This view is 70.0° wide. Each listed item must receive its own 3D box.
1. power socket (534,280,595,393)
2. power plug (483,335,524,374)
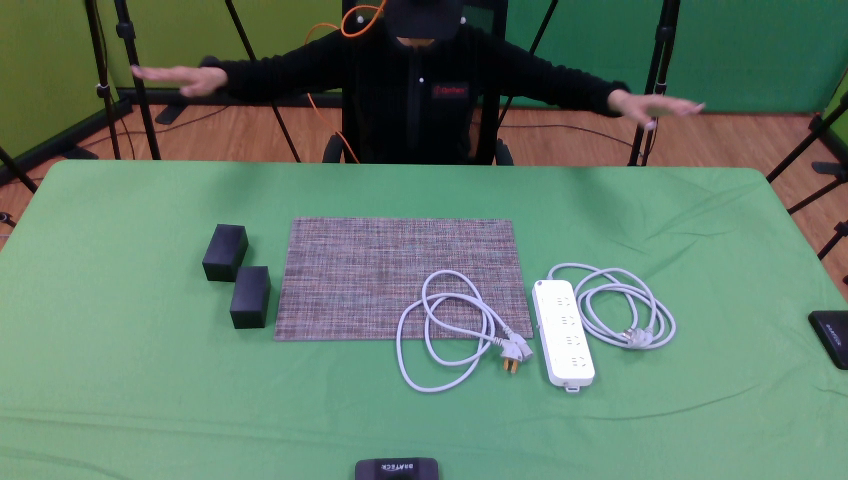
[{"bbox_3d":[0.241,0.158,1.054,0.072,0.033,0.225,1,46,-3],"label":"power socket"},{"bbox_3d":[0.132,0.193,1.018,0.072,0.035,0.052,7,68,25],"label":"power plug"}]
